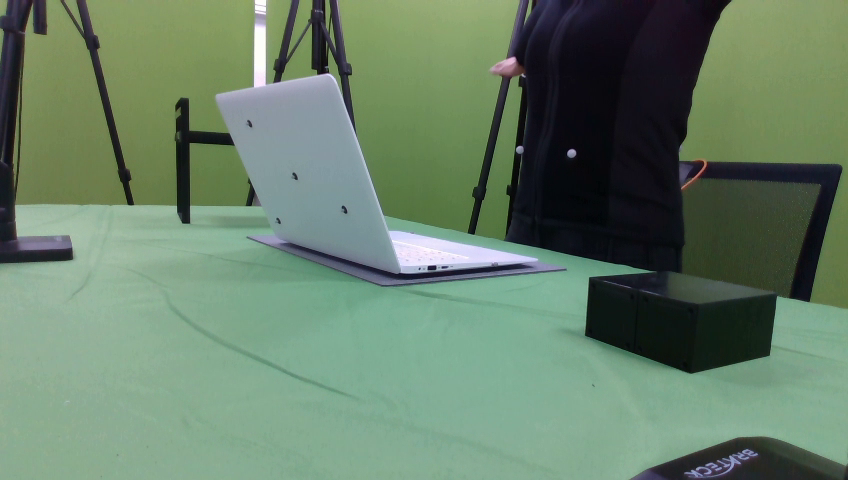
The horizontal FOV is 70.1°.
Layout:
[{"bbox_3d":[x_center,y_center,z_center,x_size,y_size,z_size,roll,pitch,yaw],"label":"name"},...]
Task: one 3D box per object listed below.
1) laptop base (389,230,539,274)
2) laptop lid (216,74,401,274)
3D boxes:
[{"bbox_3d":[-0.037,0.013,0.895,0.237,0.023,0.352,1,7,-38],"label":"laptop base"},{"bbox_3d":[-0.164,-0.085,0.780,0.013,0.242,0.355,-32,27,-30],"label":"laptop lid"}]
